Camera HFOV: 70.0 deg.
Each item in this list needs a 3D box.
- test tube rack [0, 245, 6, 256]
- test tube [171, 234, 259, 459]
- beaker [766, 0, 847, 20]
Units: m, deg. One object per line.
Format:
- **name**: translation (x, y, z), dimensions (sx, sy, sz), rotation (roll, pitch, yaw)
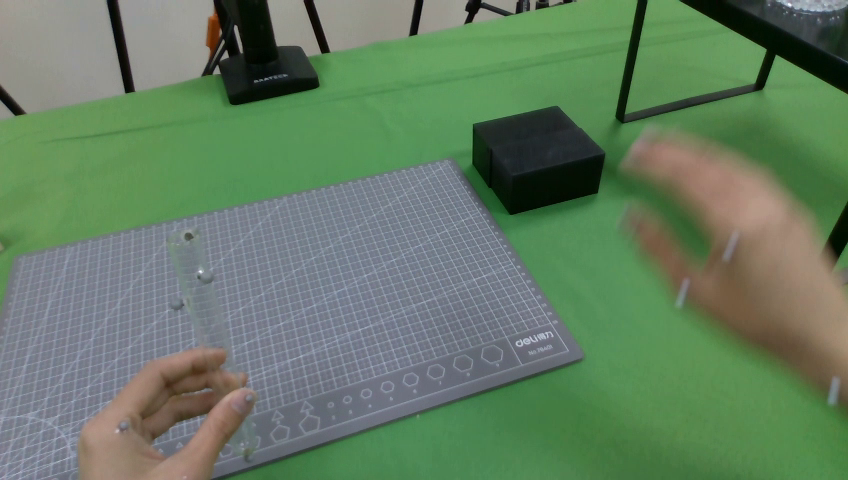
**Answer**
- **test tube rack**: translation (-0.514, 0.032, 0.516), dimensions (0.066, 0.086, 0.242), rotation (28, 50, 29)
- **test tube**: translation (-0.113, 0.065, 0.335), dimensions (0.017, 0.151, 0.017), rotation (-3, 28, 2)
- **beaker**: translation (0.328, -0.239, 0.493), dimensions (0.084, 0.101, 0.073), rotation (-13, 43, -10)
